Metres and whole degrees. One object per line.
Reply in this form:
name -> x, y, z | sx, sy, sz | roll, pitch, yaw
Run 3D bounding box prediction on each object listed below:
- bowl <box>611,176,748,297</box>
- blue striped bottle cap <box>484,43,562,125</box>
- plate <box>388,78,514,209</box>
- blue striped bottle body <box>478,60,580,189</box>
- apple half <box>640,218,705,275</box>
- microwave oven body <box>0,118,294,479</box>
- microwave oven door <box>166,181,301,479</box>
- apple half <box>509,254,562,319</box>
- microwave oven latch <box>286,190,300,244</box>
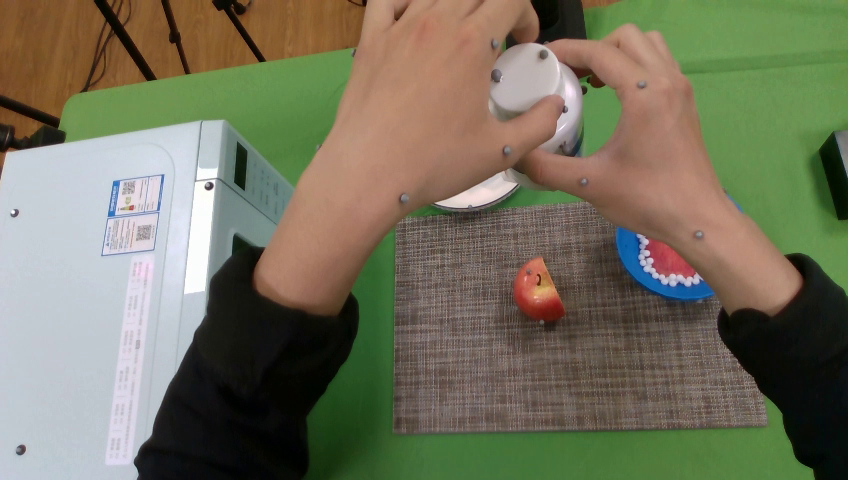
bowl -> 0.306, 0.005, 0.748 | 0.151, 0.077, 0.150 | -4, 70, 12
blue striped bottle cap -> 0.058, -0.093, 0.360 | 0.044, 0.021, 0.044 | -4, 79, 21
plate -> 0.052, -0.137, 0.883 | 0.207, 0.039, 0.206 | -4, 71, 11
blue striped bottle body -> 0.073, -0.081, 0.414 | 0.063, 0.121, 0.063 | -3, 77, 15
apple half -> 0.307, 0.004, 0.743 | 0.081, 0.033, 0.080 | -4, 69, 11
microwave oven body -> -0.356, 0.117, 0.764 | 0.325, 0.262, 0.438 | -6, 71, 10
microwave oven door -> -0.213, 0.138, 0.719 | 0.039, 0.246, 0.353 | -7, 70, 11
apple half -> 0.136, 0.065, 0.770 | 0.053, 0.075, 0.080 | -25, 71, 8
microwave oven latch -> -0.197, -0.033, 0.884 | 0.030, 0.030, 0.078 | -7, 71, 10
